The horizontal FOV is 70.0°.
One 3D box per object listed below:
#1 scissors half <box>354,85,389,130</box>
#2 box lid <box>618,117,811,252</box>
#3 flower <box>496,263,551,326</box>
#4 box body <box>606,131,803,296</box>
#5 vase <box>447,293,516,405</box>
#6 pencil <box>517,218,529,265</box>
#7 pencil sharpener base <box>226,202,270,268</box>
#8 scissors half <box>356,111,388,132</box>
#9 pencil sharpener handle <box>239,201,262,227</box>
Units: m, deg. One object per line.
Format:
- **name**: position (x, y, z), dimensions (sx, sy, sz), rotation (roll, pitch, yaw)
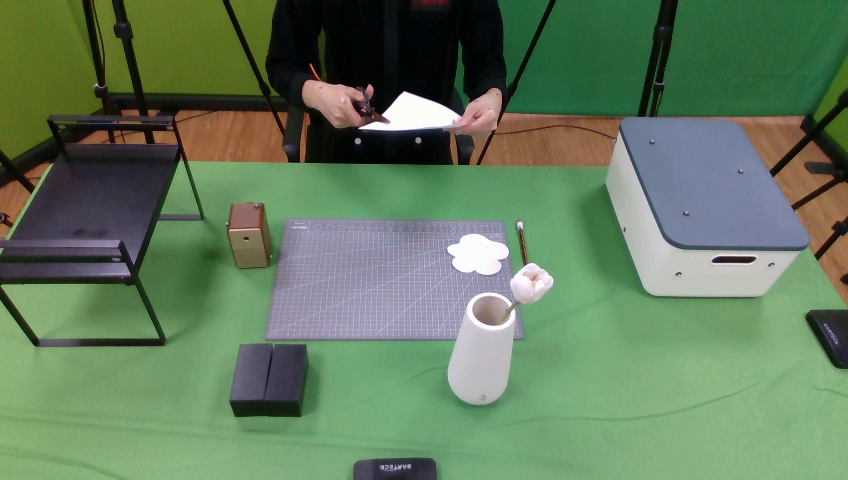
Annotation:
- **scissors half**: position (-0.093, -0.232, 1.067), dimensions (0.013, 0.040, 0.174), rotation (-16, 41, -18)
- **box lid**: position (0.534, -0.117, 1.149), dimensions (0.263, 0.015, 0.369), rotation (0, 47, -3)
- **flower**: position (0.102, 0.120, 0.853), dimensions (0.044, 0.363, 0.038), rotation (-2, 64, -10)
- **box body**: position (0.530, -0.067, 1.204), dimensions (0.254, 0.161, 0.361), rotation (1, 46, -4)
- **vase**: position (0.091, 0.169, 0.921), dimensions (0.098, 0.201, 0.097), rotation (3, 47, -3)
- **pencil**: position (0.201, 0.028, 1.197), dimensions (0.012, 0.012, 0.193), rotation (1, 48, -3)
- **pencil sharpener base**: position (-0.323, -0.010, 1.123), dimensions (0.061, 0.107, 0.076), rotation (-3, 46, -7)
- **scissors half**: position (-0.092, -0.212, 1.076), dimensions (0.013, 0.040, 0.174), rotation (-11, 13, -20)
- **pencil sharpener handle**: position (-0.325, -0.055, 1.150), dimensions (0.036, 0.068, 0.030), rotation (-13, 46, 3)
